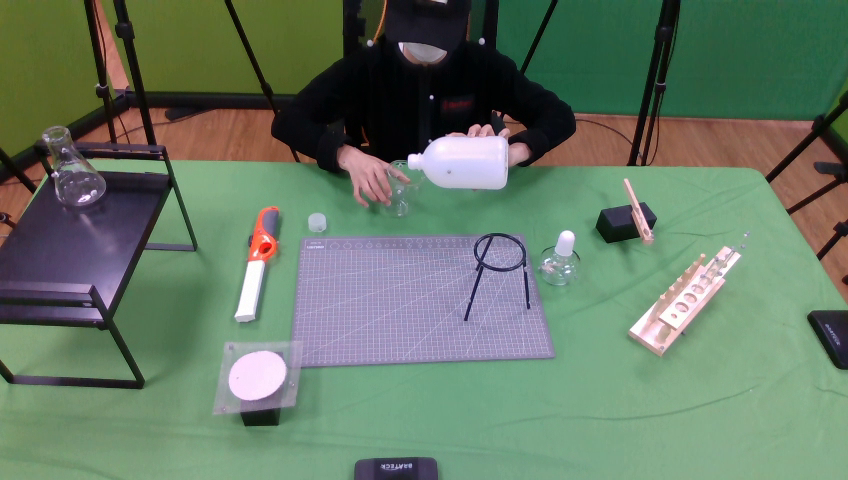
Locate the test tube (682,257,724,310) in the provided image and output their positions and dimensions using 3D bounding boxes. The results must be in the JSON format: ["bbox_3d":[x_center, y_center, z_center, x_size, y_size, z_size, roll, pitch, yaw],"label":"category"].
[{"bbox_3d":[0.475,0.080,1.037,0.017,0.151,0.017,2,51,-2],"label":"test tube"}]

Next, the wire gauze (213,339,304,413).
[{"bbox_3d":[-0.250,0.203,0.924,0.121,0.011,0.124,-1,46,-3],"label":"wire gauze"}]

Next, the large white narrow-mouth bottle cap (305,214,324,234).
[{"bbox_3d":[-0.219,-0.033,1.214,0.038,0.024,0.037,2,46,-2],"label":"large white narrow-mouth bottle cap"}]

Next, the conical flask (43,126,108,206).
[{"bbox_3d":[-0.555,-0.119,0.953,0.075,0.122,0.075,2,46,-2],"label":"conical flask"}]

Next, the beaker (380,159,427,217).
[{"bbox_3d":[-0.045,-0.103,1.233,0.084,0.100,0.073,4,49,-15],"label":"beaker"}]

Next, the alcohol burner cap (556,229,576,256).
[{"bbox_3d":[0.260,0.002,1.098,0.034,0.048,0.033,3,40,-2],"label":"alcohol burner cap"}]

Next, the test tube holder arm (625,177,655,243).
[{"bbox_3d":[0.433,-0.063,1.220,0.013,0.015,0.177,1,47,-3],"label":"test tube holder arm"}]

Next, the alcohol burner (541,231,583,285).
[{"bbox_3d":[0.258,0.028,1.123,0.078,0.120,0.077,1,48,-1],"label":"alcohol burner"}]

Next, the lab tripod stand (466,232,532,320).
[{"bbox_3d":[0.125,0.059,1.065,0.148,0.132,0.147,1,45,0],"label":"lab tripod stand"}]

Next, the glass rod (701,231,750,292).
[{"bbox_3d":[0.519,0.045,1.050,0.008,0.201,0.008,0,55,0],"label":"glass rod"}]

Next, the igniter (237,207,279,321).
[{"bbox_3d":[-0.309,0.036,1.136,0.057,0.025,0.274,-7,45,5],"label":"igniter"}]

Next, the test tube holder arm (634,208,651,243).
[{"bbox_3d":[0.428,-0.030,1.189,0.010,0.015,0.087,1,47,-2],"label":"test tube holder arm"}]

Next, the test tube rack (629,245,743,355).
[{"bbox_3d":[0.474,0.095,1.091,0.242,0.085,0.066,-34,56,-31],"label":"test tube rack"}]

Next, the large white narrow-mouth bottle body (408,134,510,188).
[{"bbox_3d":[0.066,-0.152,1.172,0.194,0.102,0.101,2,45,12],"label":"large white narrow-mouth bottle body"}]
